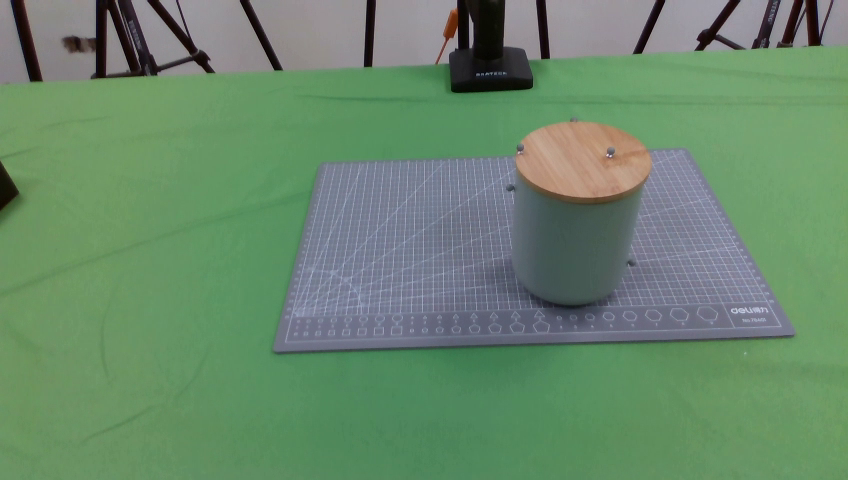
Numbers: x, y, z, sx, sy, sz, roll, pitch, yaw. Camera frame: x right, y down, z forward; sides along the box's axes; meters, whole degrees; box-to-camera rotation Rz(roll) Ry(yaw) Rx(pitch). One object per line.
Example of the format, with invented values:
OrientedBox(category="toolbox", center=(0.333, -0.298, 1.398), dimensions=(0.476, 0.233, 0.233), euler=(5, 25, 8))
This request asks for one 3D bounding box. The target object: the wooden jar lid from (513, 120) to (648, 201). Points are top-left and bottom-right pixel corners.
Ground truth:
OrientedBox(category="wooden jar lid", center=(0.128, -0.063, 0.500), dimensions=(0.108, 0.021, 0.107), euler=(-3, 42, 3))

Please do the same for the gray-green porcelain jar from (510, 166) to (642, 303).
OrientedBox(category="gray-green porcelain jar", center=(0.131, -0.015, 0.540), dimensions=(0.106, 0.127, 0.105), euler=(-2, 41, 2))
